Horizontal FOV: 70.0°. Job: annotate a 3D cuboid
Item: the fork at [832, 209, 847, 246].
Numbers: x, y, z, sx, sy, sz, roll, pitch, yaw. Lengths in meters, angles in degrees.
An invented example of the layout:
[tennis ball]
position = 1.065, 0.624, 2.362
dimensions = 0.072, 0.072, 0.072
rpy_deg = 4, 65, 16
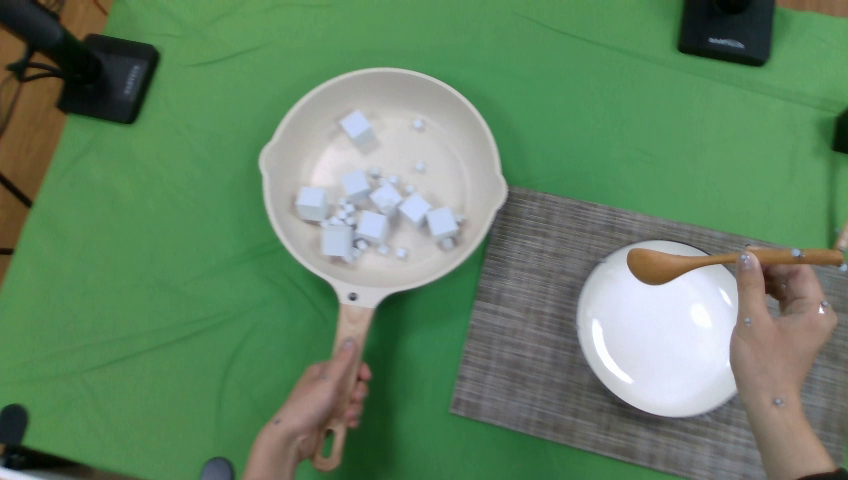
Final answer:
[fork]
position = 0.542, -0.087, 0.737
dimensions = 0.028, 0.018, 0.207
rpy_deg = 19, 96, 1

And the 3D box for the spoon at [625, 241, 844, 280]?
[spoon]
position = 0.255, 0.012, 0.525
dimensions = 0.021, 0.193, 0.042
rpy_deg = -32, 103, -35

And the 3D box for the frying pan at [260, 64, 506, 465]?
[frying pan]
position = -0.070, 0.016, 0.730
dimensions = 0.306, 0.103, 0.484
rpy_deg = 9, 68, 6

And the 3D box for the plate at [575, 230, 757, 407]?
[plate]
position = 0.283, 0.093, 0.724
dimensions = 0.207, 0.039, 0.206
rpy_deg = -1, 76, 3
